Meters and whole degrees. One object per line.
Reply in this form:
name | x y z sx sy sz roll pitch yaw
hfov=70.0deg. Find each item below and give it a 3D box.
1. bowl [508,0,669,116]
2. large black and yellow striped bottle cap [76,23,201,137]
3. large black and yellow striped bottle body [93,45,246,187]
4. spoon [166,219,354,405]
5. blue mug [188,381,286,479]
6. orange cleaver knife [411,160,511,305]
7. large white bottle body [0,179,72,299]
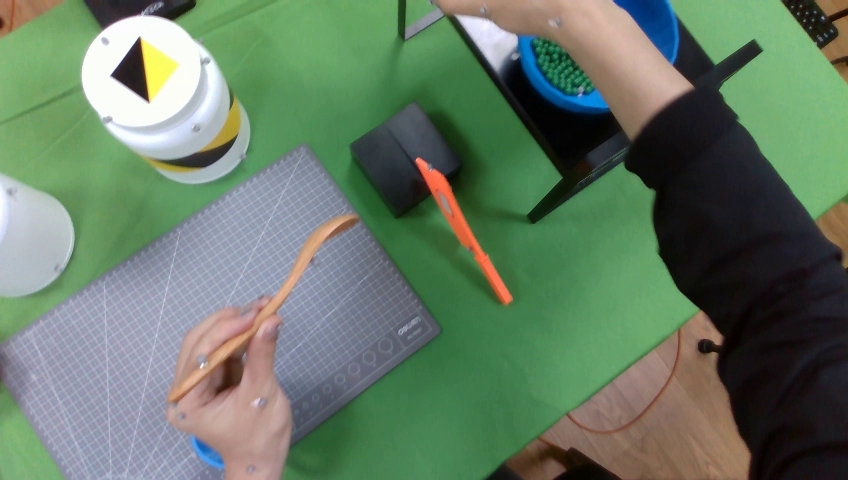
bowl | 0.150 -0.183 0.592 0.151 0.077 0.151 1 81 -3
large black and yellow striped bottle cap | -0.283 -0.160 0.602 0.115 0.019 0.114 1 81 -5
large black and yellow striped bottle body | -0.287 -0.144 0.685 0.131 0.184 0.130 1 80 -3
spoon | -0.110 0.043 0.436 0.022 0.041 0.193 44 52 -11
blue mug | -0.195 0.215 0.670 0.082 0.106 0.116 -27 83 -8
orange cleaver knife | 0.045 -0.007 0.734 0.012 0.076 0.213 -38 116 -10
large white bottle body | -0.488 -0.009 0.649 0.131 0.185 0.130 1 80 -3
